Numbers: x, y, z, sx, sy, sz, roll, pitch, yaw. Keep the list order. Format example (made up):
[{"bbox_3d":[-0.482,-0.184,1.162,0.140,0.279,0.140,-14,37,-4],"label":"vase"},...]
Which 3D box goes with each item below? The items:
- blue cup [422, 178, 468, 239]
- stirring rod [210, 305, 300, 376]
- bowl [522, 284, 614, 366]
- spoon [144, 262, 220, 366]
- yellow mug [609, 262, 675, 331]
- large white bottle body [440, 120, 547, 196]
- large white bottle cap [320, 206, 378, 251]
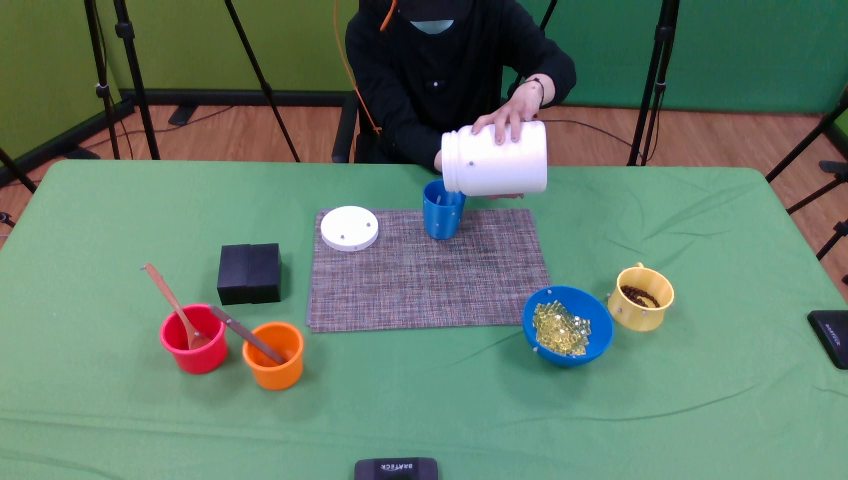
[{"bbox_3d":[0.036,-0.056,1.192,0.093,0.101,0.092,3,45,-3],"label":"blue cup"},{"bbox_3d":[-0.262,0.158,0.946,0.177,0.006,0.014,43,43,-21],"label":"stirring rod"},{"bbox_3d":[0.235,0.158,1.022,0.151,0.077,0.150,2,46,-2],"label":"bowl"},{"bbox_3d":[-0.389,0.118,0.970,0.041,0.021,0.194,-34,101,-33],"label":"spoon"},{"bbox_3d":[0.393,0.094,1.103,0.100,0.064,0.130,7,45,4],"label":"yellow mug"},{"bbox_3d":[0.127,-0.147,1.101,0.184,0.131,0.130,-2,45,9],"label":"large white bottle body"},{"bbox_3d":[-0.150,-0.024,1.207,0.115,0.018,0.114,2,46,-2],"label":"large white bottle cap"}]
